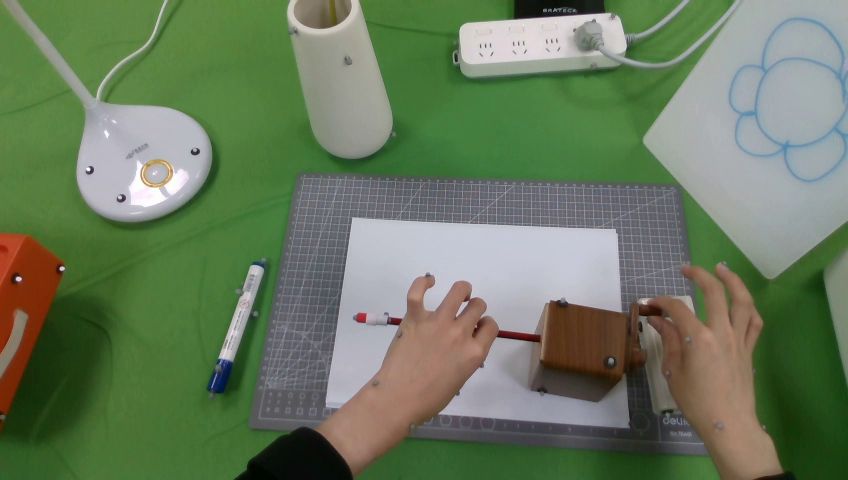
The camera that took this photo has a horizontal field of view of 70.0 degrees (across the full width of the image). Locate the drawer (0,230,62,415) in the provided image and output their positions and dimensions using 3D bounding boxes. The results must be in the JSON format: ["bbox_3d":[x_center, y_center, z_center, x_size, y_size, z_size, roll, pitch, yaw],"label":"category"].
[{"bbox_3d":[-0.488,0.080,0.570,0.211,0.074,0.193,5,66,5],"label":"drawer"}]

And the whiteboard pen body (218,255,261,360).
[{"bbox_3d":[-0.197,0.079,0.640,0.017,0.017,0.139,6,61,6],"label":"whiteboard pen body"}]

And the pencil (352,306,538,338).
[{"bbox_3d":[0.032,0.076,0.548,0.194,0.012,0.012,7,64,1],"label":"pencil"}]

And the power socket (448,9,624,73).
[{"bbox_3d":[0.145,-0.257,0.781,0.227,0.033,0.071,-3,65,1],"label":"power socket"}]

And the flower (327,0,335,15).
[{"bbox_3d":[-0.092,-0.235,0.597,0.038,0.365,0.043,-9,46,-9],"label":"flower"}]

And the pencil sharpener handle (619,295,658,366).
[{"bbox_3d":[0.192,0.082,0.542,0.030,0.036,0.067,9,64,7],"label":"pencil sharpener handle"}]

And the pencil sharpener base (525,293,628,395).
[{"bbox_3d":[0.140,0.100,0.566,0.076,0.108,0.061,9,65,7],"label":"pencil sharpener base"}]

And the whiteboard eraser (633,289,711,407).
[{"bbox_3d":[0.239,0.105,0.596,0.055,0.042,0.111,-2,64,0],"label":"whiteboard eraser"}]

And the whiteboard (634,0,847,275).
[{"bbox_3d":[0.401,-0.149,0.601,0.144,0.307,0.215,-19,63,-27],"label":"whiteboard"}]

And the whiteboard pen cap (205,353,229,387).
[{"bbox_3d":[-0.208,0.130,0.611,0.018,0.018,0.033,7,59,6],"label":"whiteboard pen cap"}]

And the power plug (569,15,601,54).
[{"bbox_3d":[0.196,-0.244,0.747,0.035,0.053,0.072,6,66,6],"label":"power plug"}]

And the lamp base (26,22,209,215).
[{"bbox_3d":[-0.353,-0.141,0.664,0.178,0.182,0.160,33,70,20],"label":"lamp base"}]

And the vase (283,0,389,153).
[{"bbox_3d":[-0.096,-0.183,0.663,0.098,0.201,0.097,-2,64,4],"label":"vase"}]

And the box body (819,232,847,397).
[{"bbox_3d":[0.520,0.139,0.504,0.254,0.161,0.361,2,65,3],"label":"box body"}]

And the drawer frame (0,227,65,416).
[{"bbox_3d":[-0.494,0.082,0.571,0.213,0.083,0.200,5,65,3],"label":"drawer frame"}]
